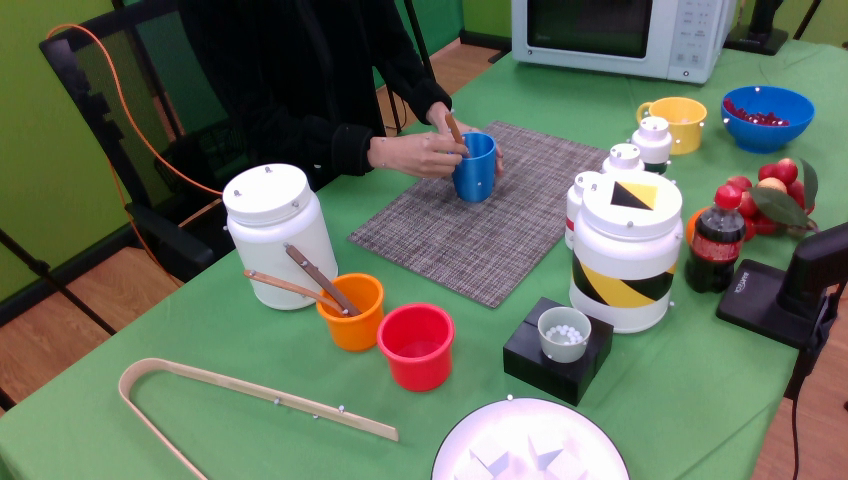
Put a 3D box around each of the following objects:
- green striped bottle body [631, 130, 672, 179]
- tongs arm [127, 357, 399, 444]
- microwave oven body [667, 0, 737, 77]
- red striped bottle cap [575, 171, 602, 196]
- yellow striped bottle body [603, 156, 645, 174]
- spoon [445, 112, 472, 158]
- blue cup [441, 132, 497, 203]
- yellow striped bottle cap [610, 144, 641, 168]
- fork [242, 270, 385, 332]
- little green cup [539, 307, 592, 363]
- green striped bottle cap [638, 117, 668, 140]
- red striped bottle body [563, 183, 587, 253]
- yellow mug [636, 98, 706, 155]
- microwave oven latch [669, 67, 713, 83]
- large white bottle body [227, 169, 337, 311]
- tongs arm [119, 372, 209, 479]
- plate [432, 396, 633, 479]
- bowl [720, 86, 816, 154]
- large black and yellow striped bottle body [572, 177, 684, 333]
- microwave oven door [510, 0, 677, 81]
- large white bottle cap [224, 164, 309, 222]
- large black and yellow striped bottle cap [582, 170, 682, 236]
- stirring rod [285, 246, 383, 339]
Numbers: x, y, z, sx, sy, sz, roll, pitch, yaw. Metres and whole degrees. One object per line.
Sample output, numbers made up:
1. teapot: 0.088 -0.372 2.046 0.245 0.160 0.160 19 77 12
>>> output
1. green striped bottle body: 0.375 -0.140 1.007 0.063 0.120 0.063 -5 40 4
2. tongs arm: -0.213 0.205 0.755 0.382 0.026 0.051 12 46 23
3. microwave oven body: 0.462 -0.552 1.369 0.439 0.261 0.326 15 45 26
4. red striped bottle cap: 0.242 -0.081 0.876 0.044 0.018 0.044 -5 44 5
5. yellow striped bottle body: 0.313 -0.089 0.956 0.063 0.121 0.062 -4 39 4
6. spoon: 0.068 -0.142 0.975 0.041 0.195 0.021 -28 51 8
7. blue cup: 0.084 -0.120 1.038 0.092 0.100 0.092 -4 42 4
8. yellow striped bottle cap: 0.307 -0.128 0.923 0.044 0.019 0.044 -6 40 5
9. fork: -0.142 0.082 0.802 0.209 0.018 0.028 28 38 -26
10. little green cup: 0.168 0.115 0.721 0.061 0.039 0.061 -4 42 4
11. green striped bottle cap: 0.369 -0.180 0.974 0.044 0.020 0.044 -4 41 4
12. red striped bottle body: 0.246 -0.041 0.910 0.063 0.120 0.062 -2 38 2
13. yellow mug: 0.453 -0.217 1.128 0.100 0.064 0.129 -34 46 -27
14. microwave oven latch: 0.556 -0.348 1.261 0.078 0.029 0.030 16 46 27
15. large white bottle body: -0.207 -0.002 0.883 0.130 0.185 0.130 -4 40 4
16. tongs arm: -0.258 0.257 0.700 0.384 0.028 0.028 24 55 34
17. plate: 0.112 0.261 0.634 0.209 0.038 0.208 -5 40 4
18. bowl: 0.605 -0.206 1.081 0.151 0.077 0.150 -5 40 5
19. large black and yellow striped bottle body: 0.262 0.017 0.788 0.131 0.185 0.130 -5 40 4
20. microwave oven door: 0.354 -0.478 1.290 0.353 0.245 0.039 15 45 25
21. large white bottle cap: -0.216 -0.066 0.829 0.115 0.018 0.114 -4 40 4
22. large black and yellow striped bottle cap: 0.252 -0.048 0.735 0.115 0.019 0.114 -3 40 3
23. stirring rod: -0.121 0.071 0.819 0.176 0.006 0.014 44 52 -6
